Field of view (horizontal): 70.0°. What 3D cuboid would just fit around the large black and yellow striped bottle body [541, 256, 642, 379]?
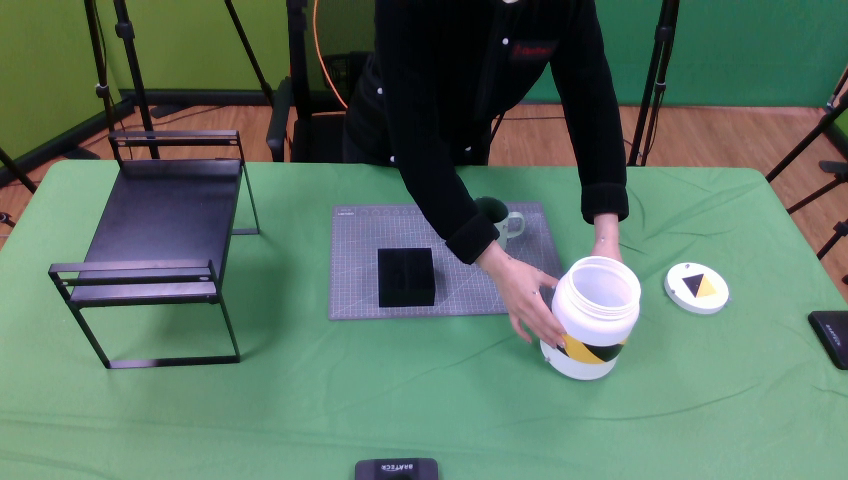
[{"bbox_3d":[0.270,0.125,0.982,0.131,0.185,0.130,2,46,-2],"label":"large black and yellow striped bottle body"}]

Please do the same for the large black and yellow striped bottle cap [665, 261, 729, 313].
[{"bbox_3d":[0.519,0.088,1.152,0.115,0.019,0.114,3,47,-3],"label":"large black and yellow striped bottle cap"}]

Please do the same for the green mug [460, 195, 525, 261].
[{"bbox_3d":[0.135,-0.024,1.168,0.125,0.105,0.092,-8,47,-12],"label":"green mug"}]
